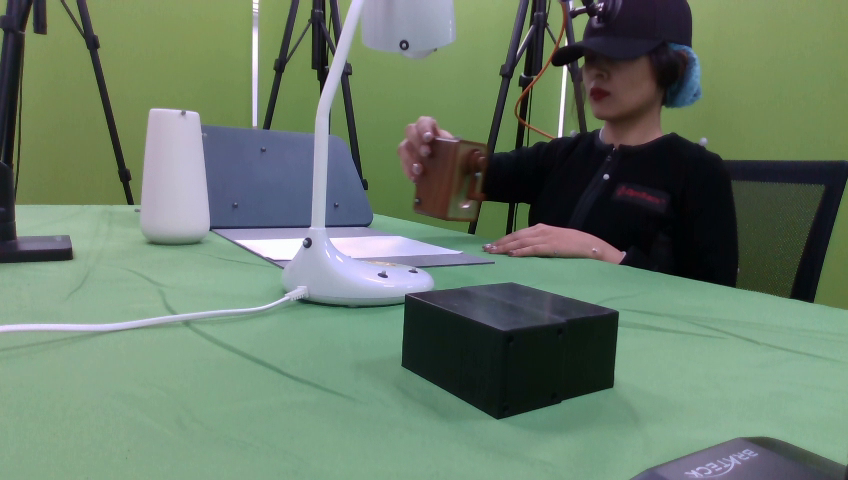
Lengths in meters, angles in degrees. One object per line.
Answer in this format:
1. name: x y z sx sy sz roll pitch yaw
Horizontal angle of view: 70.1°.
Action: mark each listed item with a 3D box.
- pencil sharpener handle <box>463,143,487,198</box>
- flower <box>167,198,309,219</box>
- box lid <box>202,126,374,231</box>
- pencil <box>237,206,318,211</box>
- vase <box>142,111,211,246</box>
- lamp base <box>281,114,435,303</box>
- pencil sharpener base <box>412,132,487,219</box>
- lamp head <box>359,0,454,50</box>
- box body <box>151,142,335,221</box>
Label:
1. pencil sharpener handle: 0.070 -0.087 0.766 0.036 0.067 0.030 5 8 -44
2. flower: -0.400 -0.060 1.358 0.044 0.038 0.364 -37 -23 30
3. box lid: -0.296 -0.128 1.234 0.373 0.262 0.015 -2 -35 -32
4. pencil: -0.346 -0.074 1.434 0.194 0.012 0.012 0 7 -1
5. vase: -0.378 -0.093 0.920 0.098 0.200 0.098 2 9 0
6. lamp base: -0.071 -0.035 0.614 0.160 0.180 0.180 6 10 27
7. pencil sharpener base: 0.035 -0.085 0.805 0.062 0.107 0.076 1 11 -43
8. lamp head: -0.024 -0.283 0.674 0.112 0.123 0.112 -3 38 3
9. box body: -0.412 -0.135 1.379 0.366 0.160 0.253 -2 9 -31
